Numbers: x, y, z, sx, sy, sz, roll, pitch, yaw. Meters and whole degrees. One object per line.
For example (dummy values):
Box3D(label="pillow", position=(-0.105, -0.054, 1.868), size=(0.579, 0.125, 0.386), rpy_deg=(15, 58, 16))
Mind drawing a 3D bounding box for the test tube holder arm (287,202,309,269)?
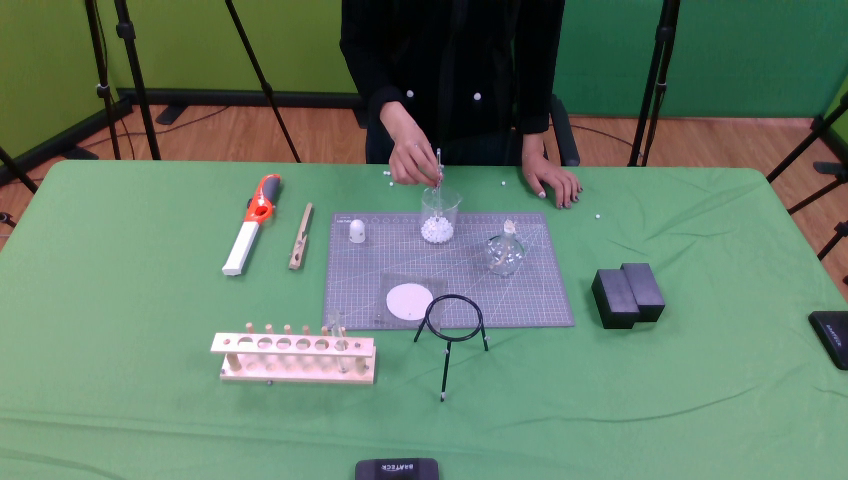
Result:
Box3D(label="test tube holder arm", position=(-0.247, -0.013, 1.193), size=(0.013, 0.015, 0.177), rpy_deg=(29, 39, -26))

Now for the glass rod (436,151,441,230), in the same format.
Box3D(label="glass rod", position=(0.028, -0.087, 1.127), size=(0.008, 0.201, 0.008), rpy_deg=(-1, 49, 2))

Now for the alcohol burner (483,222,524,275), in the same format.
Box3D(label="alcohol burner", position=(0.153, 0.010, 1.136), size=(0.078, 0.119, 0.077), rpy_deg=(4, 46, -4))

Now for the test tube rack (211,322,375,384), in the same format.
Box3D(label="test tube rack", position=(-0.202, 0.176, 0.969), size=(0.242, 0.085, 0.066), rpy_deg=(3, 46, -2))

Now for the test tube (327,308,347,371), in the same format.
Box3D(label="test tube", position=(-0.132, 0.155, 0.926), size=(0.017, 0.151, 0.017), rpy_deg=(0, 45, 0))

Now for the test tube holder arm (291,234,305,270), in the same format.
Box3D(label="test tube holder arm", position=(-0.243, 0.021, 1.164), size=(0.010, 0.015, 0.087), rpy_deg=(29, 39, -26))

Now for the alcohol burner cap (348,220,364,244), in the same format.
Box3D(label="alcohol burner cap", position=(-0.134, -0.019, 1.190), size=(0.034, 0.048, 0.033), rpy_deg=(2, 46, -2))

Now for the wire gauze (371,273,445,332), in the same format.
Box3D(label="wire gauze", position=(-0.028, 0.109, 1.100), size=(0.125, 0.011, 0.121), rpy_deg=(8, 45, 4))

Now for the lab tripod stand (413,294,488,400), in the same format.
Box3D(label="lab tripod stand", position=(0.045, 0.159, 0.972), size=(0.148, 0.132, 0.147), rpy_deg=(2, 44, -2))

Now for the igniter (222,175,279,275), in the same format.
Box3D(label="igniter", position=(-0.341, -0.039, 1.206), size=(0.057, 0.025, 0.275), rpy_deg=(-1, 45, 9))

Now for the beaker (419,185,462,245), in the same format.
Box3D(label="beaker", position=(0.029, -0.047, 1.191), size=(0.084, 0.101, 0.073), rpy_deg=(-6, 47, -10))
